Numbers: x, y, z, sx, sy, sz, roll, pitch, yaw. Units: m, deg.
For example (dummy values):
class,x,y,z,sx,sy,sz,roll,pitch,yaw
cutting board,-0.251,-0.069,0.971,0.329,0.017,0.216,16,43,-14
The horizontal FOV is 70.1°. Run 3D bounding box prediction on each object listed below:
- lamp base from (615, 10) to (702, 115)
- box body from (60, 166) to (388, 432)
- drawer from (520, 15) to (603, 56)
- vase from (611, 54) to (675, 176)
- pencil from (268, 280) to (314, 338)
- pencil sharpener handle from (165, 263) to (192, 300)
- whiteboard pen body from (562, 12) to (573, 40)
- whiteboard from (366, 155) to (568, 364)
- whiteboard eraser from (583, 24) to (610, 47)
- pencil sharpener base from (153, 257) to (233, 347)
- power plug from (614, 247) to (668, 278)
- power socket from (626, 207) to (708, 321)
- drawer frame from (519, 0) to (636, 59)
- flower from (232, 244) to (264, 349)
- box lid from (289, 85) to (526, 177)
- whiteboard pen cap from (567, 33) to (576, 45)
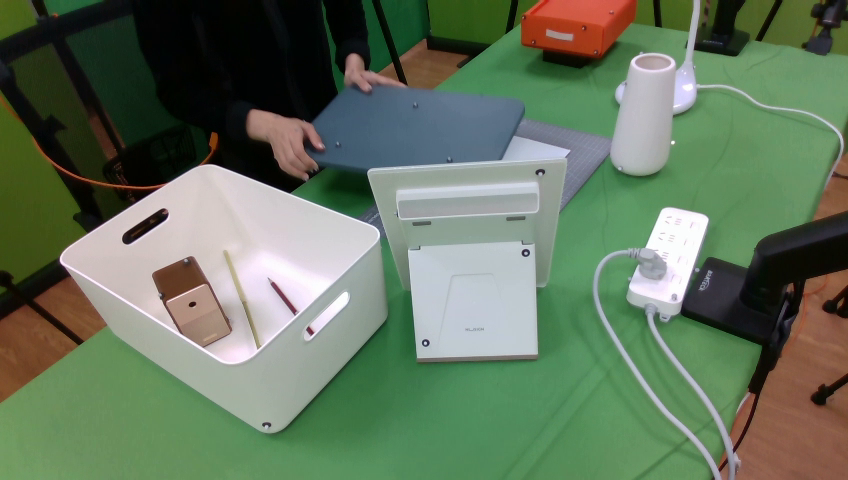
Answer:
class,x,y,z,sx,sy,sz,roll,pitch,yaw
lamp base,0.484,-0.363,1.211,0.180,0.181,0.159,-15,41,-14
box body,-0.256,0.065,0.827,0.361,0.161,0.255,20,48,29
drawer,0.359,-0.517,1.416,0.193,0.073,0.212,20,47,29
vase,0.377,-0.209,1.031,0.098,0.201,0.097,-4,40,3
pencil,-0.188,0.106,0.880,0.012,0.012,0.192,-28,42,-23
pencil sharpener handle,-0.353,0.054,0.867,0.036,0.068,0.030,-18,40,-28
whiteboard pen body,0.341,-0.506,1.430,0.017,0.017,0.140,-1,43,6
whiteboard,0.059,0.050,0.738,0.217,0.307,0.143,-2,60,5
whiteboard eraser,0.407,-0.479,1.423,0.055,0.042,0.113,-3,10,20
pencil sharpener base,-0.322,0.088,0.843,0.061,0.107,0.076,-27,44,-20
power plug,0.306,0.031,0.851,0.072,0.053,0.035,24,49,33
power socket,0.359,0.025,0.886,0.072,0.033,0.227,16,46,26
drawer frame,0.362,-0.518,1.423,0.200,0.083,0.214,19,48,29
flower,-0.245,0.106,0.869,0.044,0.038,0.358,6,30,-31
box lid,-0.024,-0.188,1.063,0.370,0.015,0.263,10,46,19
whiteboard pen cap,0.339,-0.463,1.390,0.018,0.018,0.033,-2,44,5
